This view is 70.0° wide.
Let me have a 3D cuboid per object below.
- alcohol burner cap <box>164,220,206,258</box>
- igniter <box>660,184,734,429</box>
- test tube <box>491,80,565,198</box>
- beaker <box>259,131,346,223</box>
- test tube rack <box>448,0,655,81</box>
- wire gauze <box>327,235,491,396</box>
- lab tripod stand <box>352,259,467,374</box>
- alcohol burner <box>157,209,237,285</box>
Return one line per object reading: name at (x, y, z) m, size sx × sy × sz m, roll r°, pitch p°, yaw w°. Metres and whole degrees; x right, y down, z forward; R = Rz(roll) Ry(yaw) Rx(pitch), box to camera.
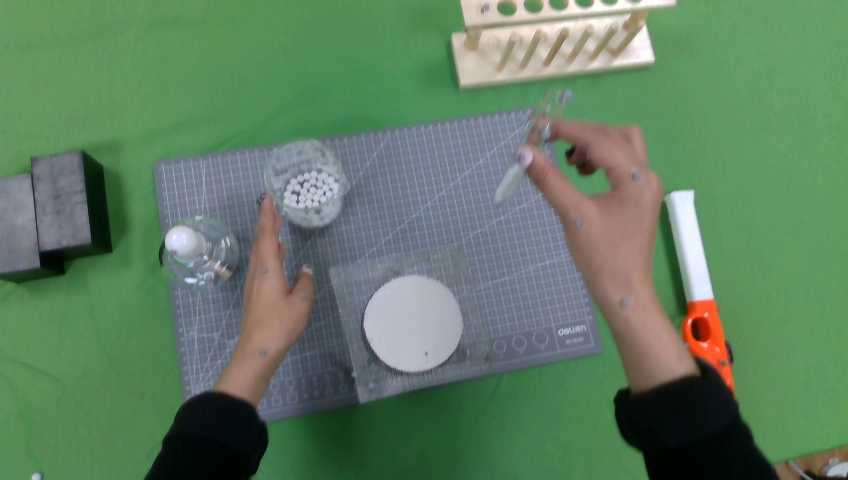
alcohol burner cap at (-0.223, -0.002, 0.564) m, size 0.034 × 0.048 × 0.033 m, roll 2°, pitch 81°, yaw -9°
igniter at (0.309, 0.071, 0.687) m, size 0.057 × 0.025 × 0.275 m, roll -4°, pitch 80°, yaw -16°
test tube at (0.070, -0.066, 0.434) m, size 0.017 × 0.151 × 0.017 m, roll 2°, pitch 70°, yaw -6°
beaker at (-0.120, -0.059, 0.628) m, size 0.084 × 0.100 × 0.073 m, roll 14°, pitch 79°, yaw -3°
test tube rack at (0.157, -0.247, 0.699) m, size 0.243 × 0.085 × 0.066 m, roll -9°, pitch 80°, yaw -7°
wire gauze at (-0.013, 0.064, 0.531) m, size 0.125 × 0.011 × 0.121 m, roll -12°, pitch 80°, yaw -8°
lab tripod stand at (-0.020, 0.079, 0.596) m, size 0.148 × 0.132 × 0.147 m, roll 1°, pitch 79°, yaw -4°
alcohol burner at (-0.228, 0.004, 0.598) m, size 0.078 × 0.119 × 0.077 m, roll 1°, pitch 77°, yaw -4°
